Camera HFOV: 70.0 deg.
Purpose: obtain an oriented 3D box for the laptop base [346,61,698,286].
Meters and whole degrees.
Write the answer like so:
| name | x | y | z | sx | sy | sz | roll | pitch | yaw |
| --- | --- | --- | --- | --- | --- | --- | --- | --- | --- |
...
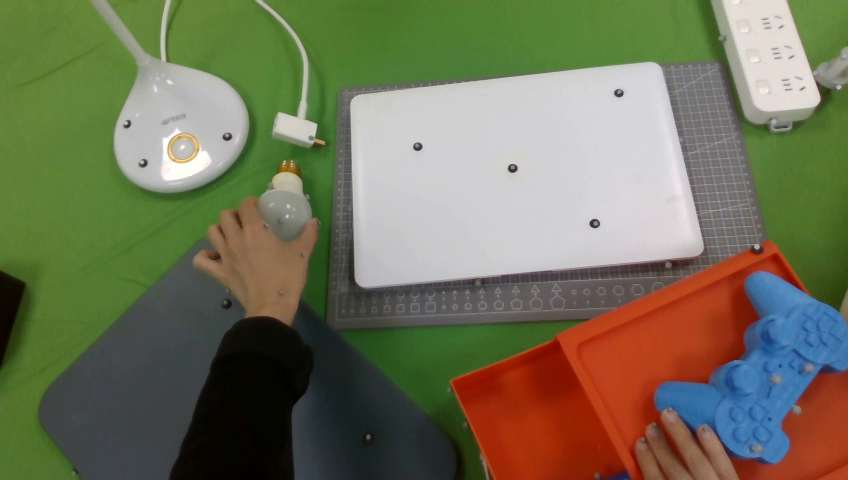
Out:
| name | x | y | z | sx | sy | sz | roll | pitch | yaw |
| --- | --- | --- | --- | --- | --- | --- | --- | --- | --- |
| laptop base | 0.093 | -0.076 | 0.659 | 0.354 | 0.023 | 0.234 | -6 | 71 | 3 |

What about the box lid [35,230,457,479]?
| name | x | y | z | sx | sy | sz | roll | pitch | yaw |
| --- | --- | --- | --- | --- | --- | --- | --- | --- | --- |
| box lid | -0.180 | 0.178 | 0.587 | 0.369 | 0.015 | 0.263 | 39 | 77 | 17 |

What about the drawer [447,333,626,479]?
| name | x | y | z | sx | sy | sz | roll | pitch | yaw |
| --- | --- | --- | --- | --- | --- | --- | --- | --- | --- |
| drawer | 0.152 | 0.172 | 0.523 | 0.212 | 0.074 | 0.193 | -22 | 67 | -3 |

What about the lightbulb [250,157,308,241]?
| name | x | y | z | sx | sy | sz | roll | pitch | yaw |
| --- | --- | --- | --- | --- | --- | --- | --- | --- | --- |
| lightbulb | -0.153 | -0.048 | 0.651 | 0.059 | 0.060 | 0.106 | -5 | 53 | 4 |

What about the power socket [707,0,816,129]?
| name | x | y | z | sx | sy | sz | roll | pitch | yaw |
| --- | --- | --- | --- | --- | --- | --- | --- | --- | --- |
| power socket | 0.376 | -0.231 | 0.687 | 0.072 | 0.033 | 0.225 | -4 | 68 | 3 |

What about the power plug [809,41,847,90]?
| name | x | y | z | sx | sy | sz | roll | pitch | yaw |
| --- | --- | --- | --- | --- | --- | --- | --- | --- | --- |
| power plug | 0.451 | -0.188 | 0.660 | 0.073 | 0.053 | 0.035 | -21 | 63 | -22 |

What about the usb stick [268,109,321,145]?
| name | x | y | z | sx | sy | sz | roll | pitch | yaw |
| --- | --- | --- | --- | --- | --- | --- | --- | --- | --- |
| usb stick | -0.145 | -0.126 | 0.688 | 0.059 | 0.021 | 0.027 | 18 | 72 | -23 |

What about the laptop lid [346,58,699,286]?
| name | x | y | z | sx | sy | sz | roll | pitch | yaw |
| --- | --- | --- | --- | --- | --- | --- | --- | --- | --- |
| laptop lid | 0.092 | -0.078 | 0.647 | 0.356 | 0.013 | 0.240 | -4 | 70 | 4 |

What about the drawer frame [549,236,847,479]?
| name | x | y | z | sx | sy | sz | roll | pitch | yaw |
| --- | --- | --- | --- | --- | --- | --- | --- | --- | --- |
| drawer frame | 0.245 | 0.131 | 0.526 | 0.213 | 0.083 | 0.200 | -24 | 68 | -4 |

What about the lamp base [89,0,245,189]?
| name | x | y | z | sx | sy | sz | roll | pitch | yaw |
| --- | --- | --- | --- | --- | --- | --- | --- | --- | --- |
| lamp base | -0.303 | -0.171 | 0.646 | 0.160 | 0.182 | 0.177 | -30 | 65 | -7 |

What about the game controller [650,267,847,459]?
| name | x | y | z | sx | sy | sz | roll | pitch | yaw |
| --- | --- | --- | --- | --- | --- | --- | --- | --- | --- |
| game controller | 0.265 | 0.098 | 0.482 | 0.096 | 0.052 | 0.155 | 42 | 79 | 15 |

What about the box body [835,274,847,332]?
| name | x | y | z | sx | sy | sz | roll | pitch | yaw |
| --- | --- | --- | --- | --- | --- | --- | --- | --- | --- |
| box body | 0.562 | -0.030 | 0.520 | 0.253 | 0.161 | 0.363 | 29 | 74 | 15 |
